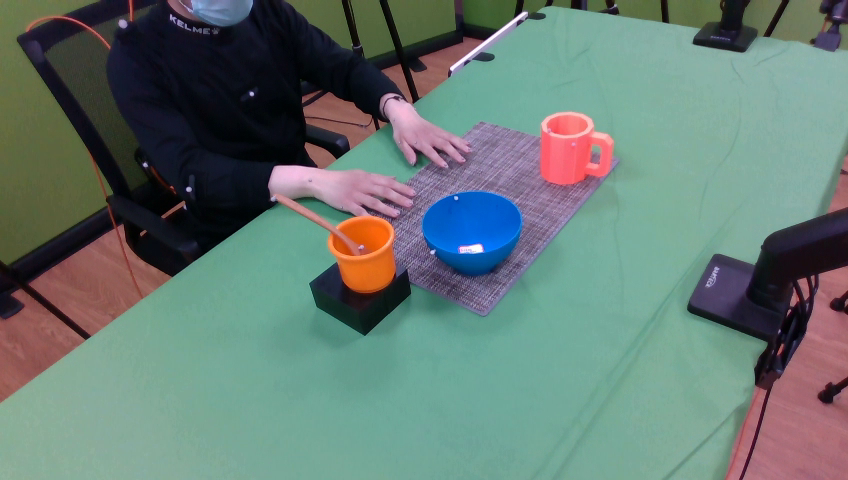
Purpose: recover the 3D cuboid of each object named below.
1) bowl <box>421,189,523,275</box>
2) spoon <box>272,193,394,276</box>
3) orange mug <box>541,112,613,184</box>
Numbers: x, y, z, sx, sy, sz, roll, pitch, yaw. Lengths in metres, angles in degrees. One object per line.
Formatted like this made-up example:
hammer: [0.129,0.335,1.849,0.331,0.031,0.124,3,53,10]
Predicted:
bowl: [0.074,-0.001,0.910,0.151,0.077,0.150,-4,41,4]
spoon: [-0.122,-0.009,0.822,0.021,0.195,0.041,-38,23,37]
orange mug: [0.263,-0.157,1.050,0.125,0.101,0.083,14,45,29]
